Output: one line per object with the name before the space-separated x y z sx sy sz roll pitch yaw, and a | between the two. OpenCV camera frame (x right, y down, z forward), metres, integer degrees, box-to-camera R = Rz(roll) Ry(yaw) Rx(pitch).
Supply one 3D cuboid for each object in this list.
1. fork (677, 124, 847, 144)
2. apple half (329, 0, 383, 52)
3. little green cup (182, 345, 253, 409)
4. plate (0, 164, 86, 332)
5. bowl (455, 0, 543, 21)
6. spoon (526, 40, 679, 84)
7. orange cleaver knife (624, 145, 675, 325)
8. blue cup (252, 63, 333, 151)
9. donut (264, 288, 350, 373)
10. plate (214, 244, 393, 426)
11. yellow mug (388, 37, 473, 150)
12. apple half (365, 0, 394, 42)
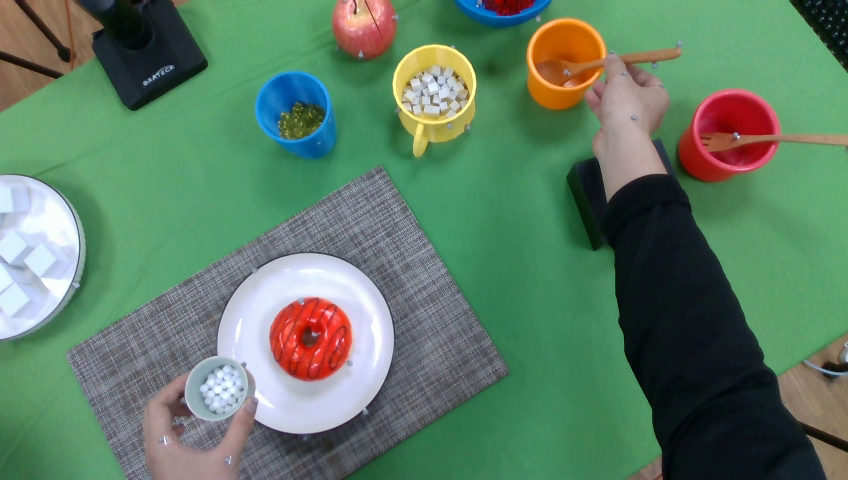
fork | 0.385 -0.119 0.672 0.205 0.019 0.028 10 63 47
apple half | -0.090 -0.271 0.755 0.053 0.075 0.080 -26 84 1
little green cup | -0.200 0.138 0.597 0.061 0.039 0.061 -1 67 4
plate | -0.515 0.011 0.747 0.207 0.039 0.207 0 81 3
bowl | 0.093 -0.333 0.754 0.151 0.077 0.151 0 82 3
spoon | 0.196 -0.208 0.694 0.022 0.192 0.041 22 80 -38
orange cleaver knife | 0.256 -0.004 0.692 0.012 0.076 0.212 -17 109 2
blue cup | -0.148 -0.149 0.724 0.092 0.100 0.092 0 82 1
donut | -0.135 0.104 0.700 0.099 0.048 0.098 0 82 3
plate | -0.138 0.109 0.710 0.209 0.038 0.208 0 81 3
yellow mug | 0.005 -0.172 0.738 0.100 0.064 0.130 16 83 4
apple half | -0.055 -0.288 0.755 0.033 0.081 0.081 -26 80 1
